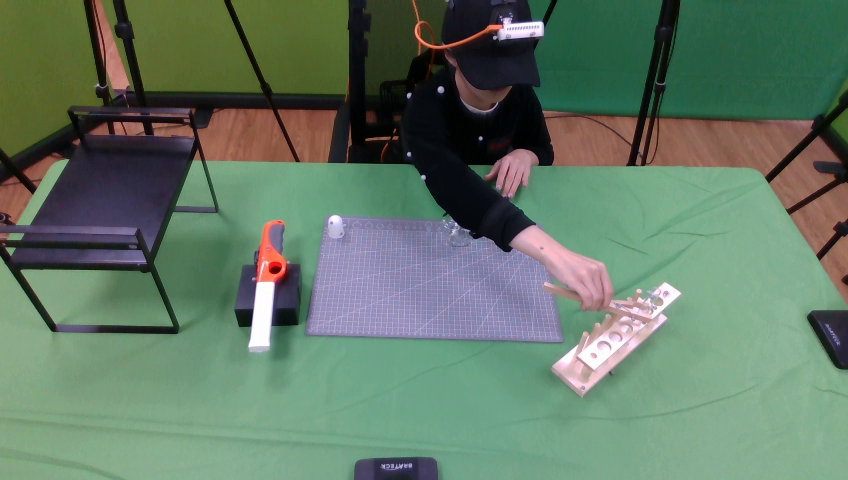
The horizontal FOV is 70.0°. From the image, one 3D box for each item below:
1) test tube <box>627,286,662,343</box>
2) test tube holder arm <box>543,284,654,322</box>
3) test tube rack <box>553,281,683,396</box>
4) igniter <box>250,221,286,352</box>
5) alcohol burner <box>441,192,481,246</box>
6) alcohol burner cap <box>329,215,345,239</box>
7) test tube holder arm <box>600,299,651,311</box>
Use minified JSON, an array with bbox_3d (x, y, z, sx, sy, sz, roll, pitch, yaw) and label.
[{"bbox_3d":[0.354,0.124,0.983,0.017,0.151,0.017,2,49,-2],"label":"test tube"},{"bbox_3d":[0.277,0.100,0.965,0.178,0.015,0.013,15,41,-1],"label":"test tube holder arm"},{"bbox_3d":[0.329,0.153,1.023,0.242,0.085,0.066,-30,54,-28],"label":"test tube rack"},{"bbox_3d":[-0.269,0.068,1.042,0.057,0.025,0.274,0,48,-7],"label":"igniter"},{"bbox_3d":[0.073,-0.046,1.176,0.078,0.119,0.077,2,44,-2],"label":"alcohol burner"},{"bbox_3d":[-0.172,-0.028,1.192,0.034,0.048,0.033,1,47,-1],"label":"alcohol burner cap"},{"bbox_3d":[0.321,0.104,0.972,0.088,0.015,0.010,4,44,-13],"label":"test tube holder arm"}]
